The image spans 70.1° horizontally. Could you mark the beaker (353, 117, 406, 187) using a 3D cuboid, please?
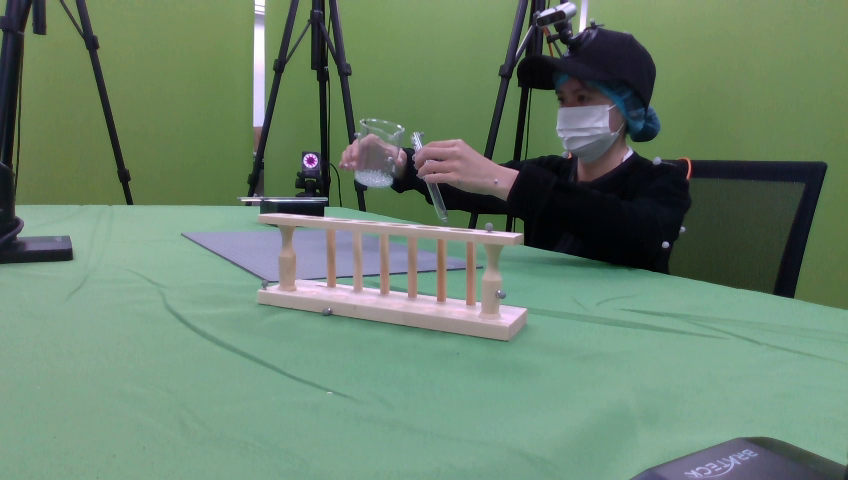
[{"bbox_3d":[-0.074,-0.143,1.000,0.074,0.100,0.083,-1,26,-30],"label":"beaker"}]

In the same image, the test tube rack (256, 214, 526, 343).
[{"bbox_3d":[-0.032,0.027,0.547,0.241,0.085,0.067,6,7,22],"label":"test tube rack"}]

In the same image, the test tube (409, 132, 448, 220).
[{"bbox_3d":[0.006,-0.099,0.927,0.017,0.150,0.017,-18,-15,-5],"label":"test tube"}]

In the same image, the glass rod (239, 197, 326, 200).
[{"bbox_3d":[-0.288,-0.087,1.250,0.201,0.008,0.008,-4,10,-42],"label":"glass rod"}]
